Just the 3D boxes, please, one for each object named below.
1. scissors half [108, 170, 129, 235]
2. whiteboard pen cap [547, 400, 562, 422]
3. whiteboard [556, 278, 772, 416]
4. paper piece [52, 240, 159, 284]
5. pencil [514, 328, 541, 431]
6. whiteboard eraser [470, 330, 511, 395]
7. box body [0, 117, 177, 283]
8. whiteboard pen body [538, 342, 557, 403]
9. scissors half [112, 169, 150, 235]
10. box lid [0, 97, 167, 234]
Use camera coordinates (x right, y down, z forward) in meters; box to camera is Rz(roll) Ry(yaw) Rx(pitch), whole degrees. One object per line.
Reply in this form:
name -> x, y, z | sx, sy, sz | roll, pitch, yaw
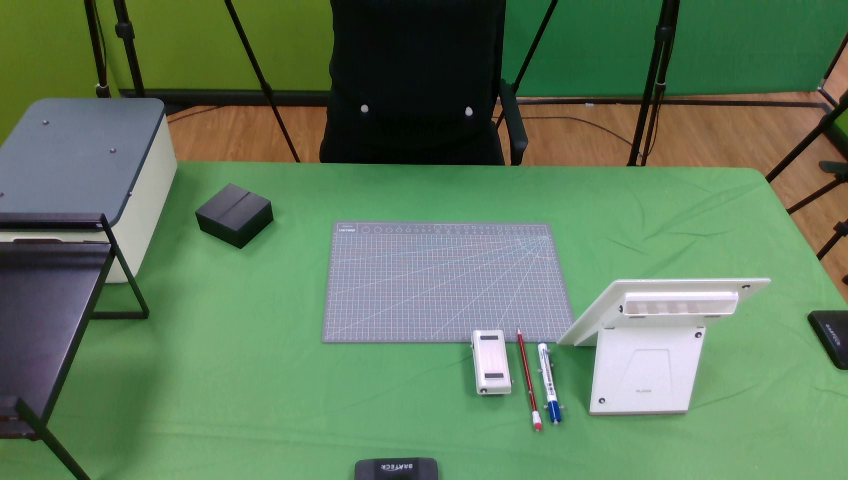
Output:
scissors half -> -0.617, -0.077, 1.223 | 0.040, 0.013, 0.174 | -14, 54, -8
whiteboard pen cap -> 0.205, 0.269, 0.956 | 0.018, 0.018, 0.033 | 0, 47, -5
whiteboard -> 0.347, 0.174, 0.903 | 0.217, 0.306, 0.143 | 1, 65, -4
paper piece -> -0.593, 0.037, 1.135 | 0.136, 0.009, 0.137 | 3, 32, 8
pencil -> 0.169, 0.224, 1.002 | 0.012, 0.012, 0.192 | -2, 46, -6
whiteboard eraser -> 0.109, 0.202, 0.998 | 0.055, 0.042, 0.112 | 1, 46, -5
box body -> -0.640, -0.095, 1.140 | 0.254, 0.161, 0.361 | 0, 46, -4
whiteboard pen body -> 0.205, 0.228, 0.997 | 0.017, 0.017, 0.140 | 1, 46, -3
scissors half -> -0.596, -0.078, 1.225 | 0.040, 0.013, 0.174 | 7, 53, 1
box lid -> -0.635, -0.145, 1.086 | 0.263, 0.015, 0.369 | 0, 46, -4
